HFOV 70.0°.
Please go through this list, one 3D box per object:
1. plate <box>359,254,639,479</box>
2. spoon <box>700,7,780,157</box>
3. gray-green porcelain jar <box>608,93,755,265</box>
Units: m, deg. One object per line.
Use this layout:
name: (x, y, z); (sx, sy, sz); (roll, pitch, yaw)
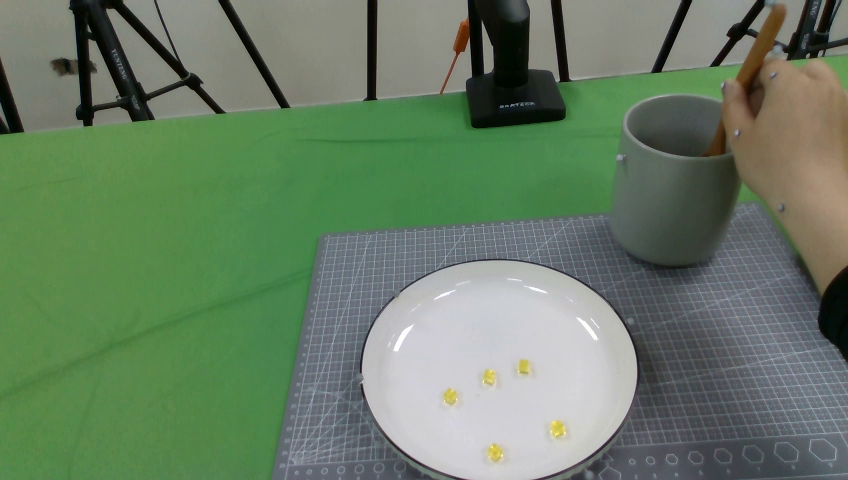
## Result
plate: (0.055, 0.095, 0.469); (0.207, 0.039, 0.205); (-4, 42, 4)
spoon: (0.240, -0.093, 0.478); (0.021, 0.195, 0.041); (-13, 53, 0)
gray-green porcelain jar: (0.222, -0.049, 0.541); (0.106, 0.128, 0.105); (-4, 42, 4)
